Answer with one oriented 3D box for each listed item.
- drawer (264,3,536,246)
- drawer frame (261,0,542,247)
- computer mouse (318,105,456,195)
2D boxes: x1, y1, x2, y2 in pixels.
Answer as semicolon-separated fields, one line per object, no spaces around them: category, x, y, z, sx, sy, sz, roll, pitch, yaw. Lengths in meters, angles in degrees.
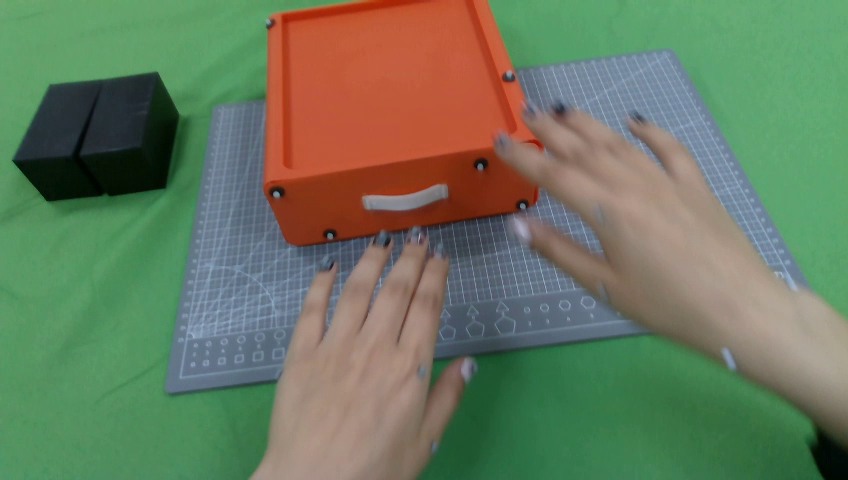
drawer;-0.027;-0.106;0.509;0.194;0.074;0.209;-9;51;-1
drawer frame;-0.027;-0.109;0.510;0.202;0.083;0.211;-10;51;-2
computer mouse;-0.032;-0.076;0.502;0.117;0.041;0.062;-11;55;4
